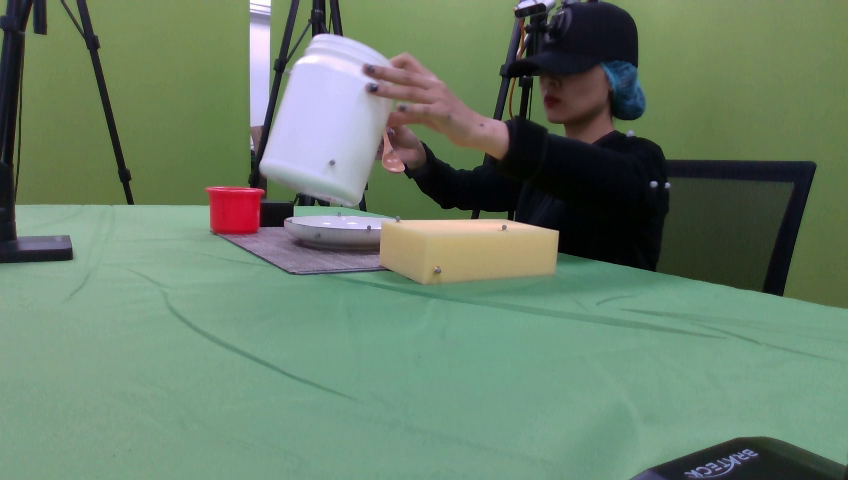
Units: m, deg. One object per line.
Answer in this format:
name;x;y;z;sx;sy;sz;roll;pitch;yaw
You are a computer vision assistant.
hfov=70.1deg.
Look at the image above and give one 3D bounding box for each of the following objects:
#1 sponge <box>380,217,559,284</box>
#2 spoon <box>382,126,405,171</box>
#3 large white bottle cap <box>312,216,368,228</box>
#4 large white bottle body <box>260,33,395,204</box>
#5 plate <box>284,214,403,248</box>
sponge;0.059;0.008;0.786;0.208;0.061;0.117;-3;11;-32
spoon;-0.075;-0.201;1.141;0.042;0.193;0.021;-4;-30;-22
large white bottle cap;-0.171;-0.038;1.234;0.115;0.018;0.115;1;5;0
large white bottle body;-0.116;-0.150;0.761;0.130;0.184;0.130;18;-4;2
plate;-0.122;-0.015;0.984;0.209;0.038;0.209;2;7;0
